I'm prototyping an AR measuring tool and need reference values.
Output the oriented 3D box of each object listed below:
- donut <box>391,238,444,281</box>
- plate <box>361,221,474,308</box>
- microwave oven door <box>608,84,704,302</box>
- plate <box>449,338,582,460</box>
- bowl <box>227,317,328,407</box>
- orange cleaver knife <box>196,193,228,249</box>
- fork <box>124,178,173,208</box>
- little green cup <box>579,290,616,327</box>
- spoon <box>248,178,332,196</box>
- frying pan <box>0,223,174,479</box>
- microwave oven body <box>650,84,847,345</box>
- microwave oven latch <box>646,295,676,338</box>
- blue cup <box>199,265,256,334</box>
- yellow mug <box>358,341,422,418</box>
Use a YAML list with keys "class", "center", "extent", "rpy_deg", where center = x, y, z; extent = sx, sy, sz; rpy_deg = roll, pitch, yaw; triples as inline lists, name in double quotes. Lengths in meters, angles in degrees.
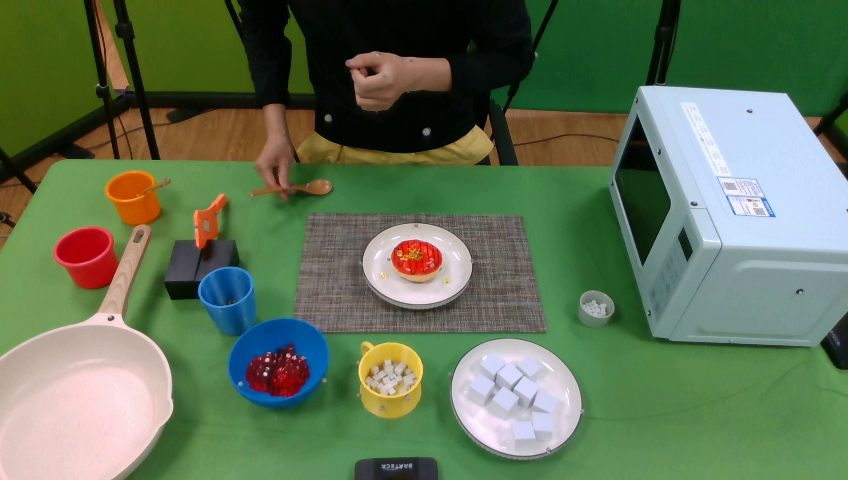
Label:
- class: "donut"
  center: [-0.012, 0.035, 1.128]
  extent: [0.099, 0.048, 0.098]
  rpy_deg: [3, 43, -2]
- class: "plate"
  center: [-0.011, 0.049, 1.130]
  extent: [0.209, 0.038, 0.208]
  rpy_deg: [2, 46, -2]
- class: "microwave oven door"
  center: [0.424, -0.096, 1.138]
  extent: [0.039, 0.245, 0.353]
  rpy_deg: [2, 47, -1]
- class: "plate"
  center: [0.141, 0.251, 0.955]
  extent: [0.208, 0.039, 0.206]
  rpy_deg: [2, 46, -2]
- class: "bowl"
  center: [-0.222, 0.203, 0.947]
  extent: [0.151, 0.077, 0.150]
  rpy_deg: [2, 46, -2]
- class: "orange cleaver knife"
  center: [-0.406, -0.041, 1.163]
  extent: [0.012, 0.077, 0.210]
  rpy_deg: [0, 17, -3]
- class: "fork"
  center: [-0.525, -0.089, 1.153]
  extent: [0.207, 0.019, 0.028]
  rpy_deg: [-17, 27, 45]
- class: "little green cup"
  center: [0.308, 0.124, 1.086]
  extent: [0.061, 0.039, 0.061]
  rpy_deg: [1, 45, -1]
- class: "spoon"
  center: [-0.271, -0.107, 1.237]
  extent: [0.194, 0.022, 0.041]
  rpy_deg: [-10, 60, -46]
- class: "frying pan"
  center: [-0.505, 0.169, 0.941]
  extent: [0.307, 0.103, 0.485]
  rpy_deg: [5, 54, -1]
- class: "microwave oven body"
  center: [0.569, -0.054, 1.116]
  extent: [0.326, 0.261, 0.439]
  rpy_deg: [2, 46, -1]
- class: "microwave oven latch"
  center: [0.413, 0.133, 1.060]
  extent: [0.030, 0.029, 0.078]
  rpy_deg: [4, 46, 1]
- class: "blue cup"
  center: [-0.321, 0.106, 1.015]
  extent: [0.093, 0.101, 0.092]
  rpy_deg: [2, 49, -2]
- class: "yellow mug"
  center: [-0.063, 0.210, 0.961]
  extent: [0.100, 0.064, 0.130]
  rpy_deg: [-29, 54, -28]
